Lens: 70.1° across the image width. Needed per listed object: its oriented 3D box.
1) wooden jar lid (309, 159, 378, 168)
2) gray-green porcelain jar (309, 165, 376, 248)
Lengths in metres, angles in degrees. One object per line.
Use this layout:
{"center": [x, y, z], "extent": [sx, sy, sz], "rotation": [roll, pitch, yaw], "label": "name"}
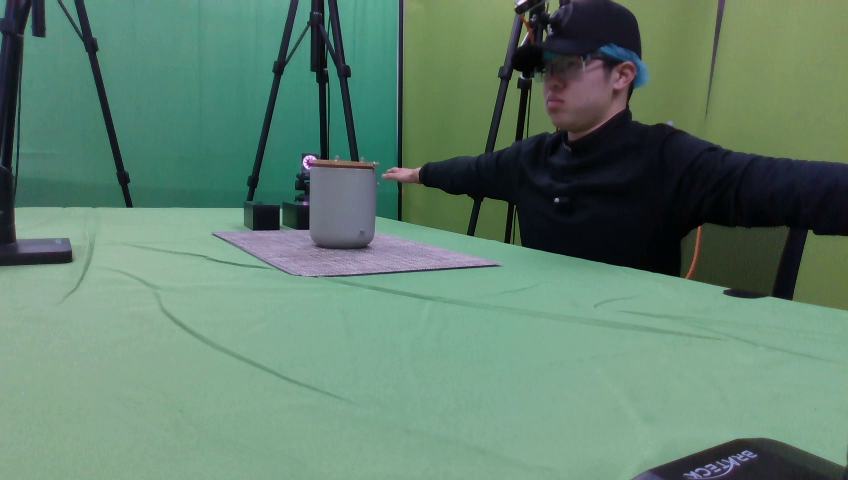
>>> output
{"center": [-0.128, -0.117, 0.957], "extent": [0.108, 0.020, 0.108], "rotation": [3, 7, 0], "label": "wooden jar lid"}
{"center": [-0.130, -0.054, 0.966], "extent": [0.106, 0.126, 0.106], "rotation": [2, 7, 0], "label": "gray-green porcelain jar"}
